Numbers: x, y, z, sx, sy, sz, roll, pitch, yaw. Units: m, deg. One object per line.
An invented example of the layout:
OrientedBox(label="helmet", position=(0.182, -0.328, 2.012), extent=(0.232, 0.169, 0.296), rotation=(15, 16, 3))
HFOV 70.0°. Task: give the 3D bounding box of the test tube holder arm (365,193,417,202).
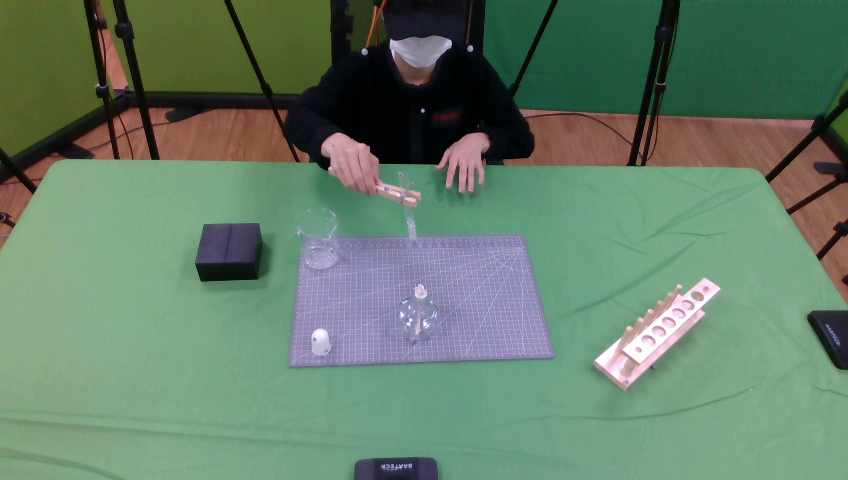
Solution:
OrientedBox(label="test tube holder arm", position=(-0.054, -0.070, 0.985), extent=(0.088, 0.010, 0.015), rotation=(3, 60, 13))

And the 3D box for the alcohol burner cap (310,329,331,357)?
OrientedBox(label="alcohol burner cap", position=(-0.173, 0.168, 1.004), extent=(0.034, 0.048, 0.033), rotation=(2, 46, -2))

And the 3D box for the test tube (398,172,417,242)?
OrientedBox(label="test tube", position=(-0.027, -0.051, 1.005), extent=(0.017, 0.151, 0.017), rotation=(-4, 45, 4))

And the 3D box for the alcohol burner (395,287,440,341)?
OrientedBox(label="alcohol burner", position=(-0.010, 0.116, 1.018), extent=(0.078, 0.119, 0.077), rotation=(3, 47, -3))

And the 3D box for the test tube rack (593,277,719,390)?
OrientedBox(label="test tube rack", position=(0.401, 0.148, 1.043), extent=(0.242, 0.085, 0.066), rotation=(-30, 55, -29))

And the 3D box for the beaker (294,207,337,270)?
OrientedBox(label="beaker", position=(-0.196, 0.003, 1.123), extent=(0.074, 0.101, 0.083), rotation=(-23, 53, -24))

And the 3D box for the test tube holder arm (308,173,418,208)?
OrientedBox(label="test tube holder arm", position=(-0.098, -0.081, 0.980), extent=(0.179, 0.013, 0.015), rotation=(14, 62, -8))
